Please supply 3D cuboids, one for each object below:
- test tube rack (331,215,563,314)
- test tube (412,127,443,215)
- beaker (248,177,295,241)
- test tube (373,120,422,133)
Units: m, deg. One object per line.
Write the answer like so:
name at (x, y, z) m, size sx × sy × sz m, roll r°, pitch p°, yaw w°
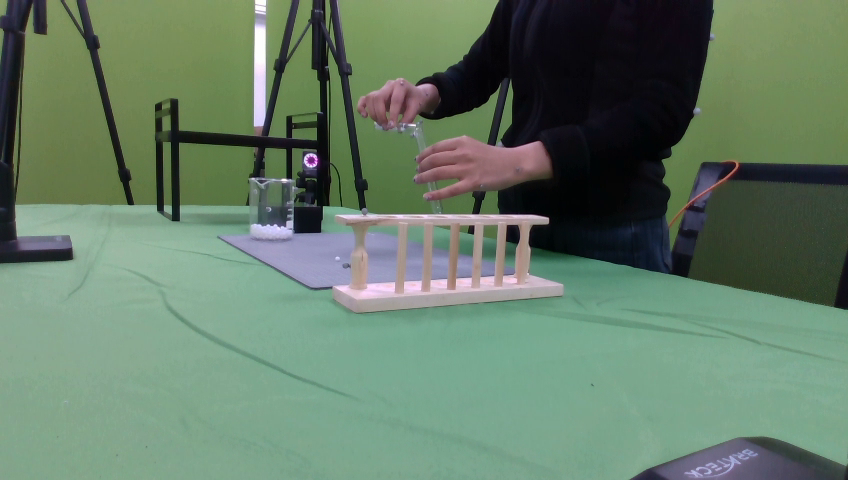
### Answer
test tube rack at (0.031, 0.019, 0.625) m, size 0.243 × 0.085 × 0.066 m, roll -1°, pitch 8°, yaw -28°
test tube at (0.005, -0.103, 0.890) m, size 0.017 × 0.150 × 0.017 m, roll -11°, pitch -24°, yaw -5°
beaker at (-0.252, -0.051, 0.992) m, size 0.074 × 0.100 × 0.084 m, roll 3°, pitch 9°, yaw 6°
test tube at (-0.047, -0.185, 0.980) m, size 0.017 × 0.017 × 0.149 m, roll -2°, pitch 12°, yaw -31°
